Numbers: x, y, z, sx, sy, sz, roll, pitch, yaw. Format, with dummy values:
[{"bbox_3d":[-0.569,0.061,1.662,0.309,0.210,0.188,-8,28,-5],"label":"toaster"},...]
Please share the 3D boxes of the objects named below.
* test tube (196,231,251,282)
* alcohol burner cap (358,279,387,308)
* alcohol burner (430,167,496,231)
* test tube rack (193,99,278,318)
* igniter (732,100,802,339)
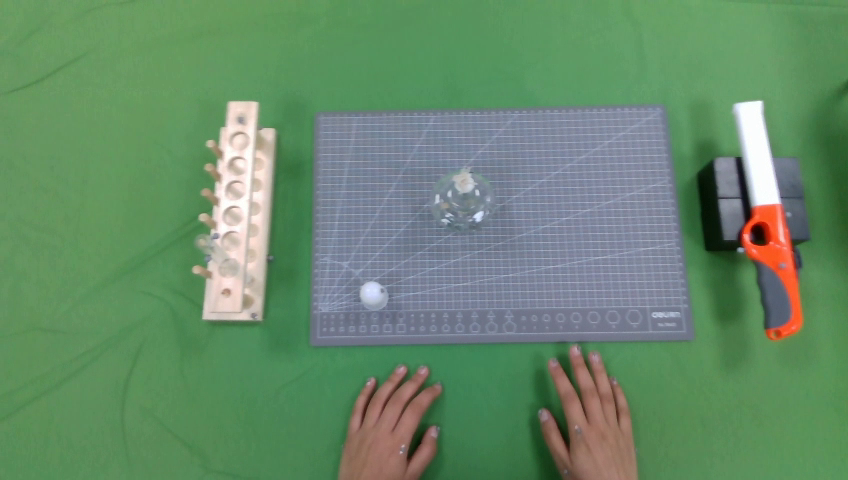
[{"bbox_3d":[-0.209,0.021,0.643,0.017,0.151,0.017,0,72,-1],"label":"test tube"},{"bbox_3d":[-0.061,0.060,0.702,0.034,0.048,0.033,0,76,0],"label":"alcohol burner cap"},{"bbox_3d":[0.045,-0.052,0.691,0.078,0.119,0.077,0,77,2],"label":"alcohol burner"},{"bbox_3d":[-0.223,-0.035,0.706,0.067,0.085,0.241,1,77,1],"label":"test tube rack"},{"bbox_3d":[0.384,-0.027,0.683,0.057,0.025,0.275,-4,76,12],"label":"igniter"}]
